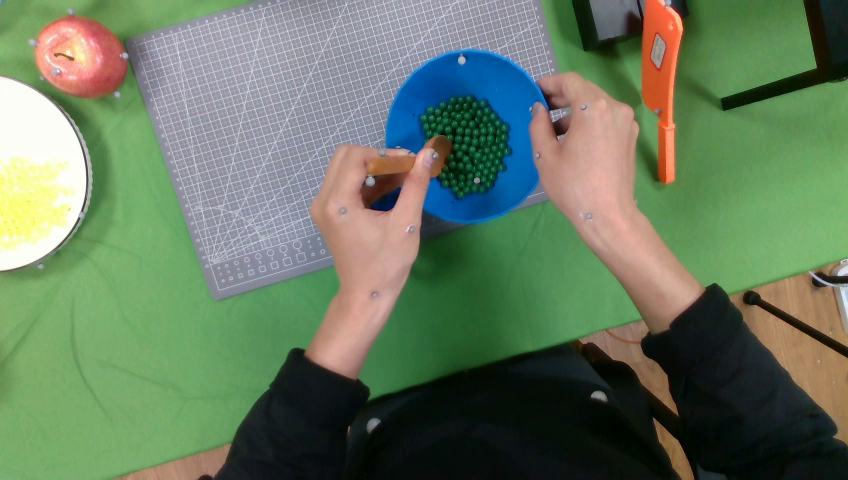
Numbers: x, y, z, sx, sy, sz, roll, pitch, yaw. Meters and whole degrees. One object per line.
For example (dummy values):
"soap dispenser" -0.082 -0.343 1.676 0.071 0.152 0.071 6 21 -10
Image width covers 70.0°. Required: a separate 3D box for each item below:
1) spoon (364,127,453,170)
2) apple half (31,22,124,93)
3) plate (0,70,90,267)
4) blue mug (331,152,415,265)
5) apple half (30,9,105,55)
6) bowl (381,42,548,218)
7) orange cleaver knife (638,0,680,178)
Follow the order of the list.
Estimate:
"spoon" -0.007 -0.072 0.496 0.021 0.193 0.042 20 105 10
"apple half" -0.346 -0.180 0.623 0.081 0.074 0.053 -32 100 -4
"plate" -0.458 -0.076 0.642 0.209 0.038 0.209 0 96 -4
"blue mug" -0.050 -0.031 0.640 0.082 0.105 0.116 -9 96 -3
"apple half" -0.366 -0.213 0.617 0.081 0.081 0.033 -32 101 -1
"bowl" 0.043 -0.100 0.562 0.151 0.077 0.152 3 102 15
"orange cleaver knife" 0.252 -0.168 0.661 0.012 0.076 0.213 -18 127 -3
